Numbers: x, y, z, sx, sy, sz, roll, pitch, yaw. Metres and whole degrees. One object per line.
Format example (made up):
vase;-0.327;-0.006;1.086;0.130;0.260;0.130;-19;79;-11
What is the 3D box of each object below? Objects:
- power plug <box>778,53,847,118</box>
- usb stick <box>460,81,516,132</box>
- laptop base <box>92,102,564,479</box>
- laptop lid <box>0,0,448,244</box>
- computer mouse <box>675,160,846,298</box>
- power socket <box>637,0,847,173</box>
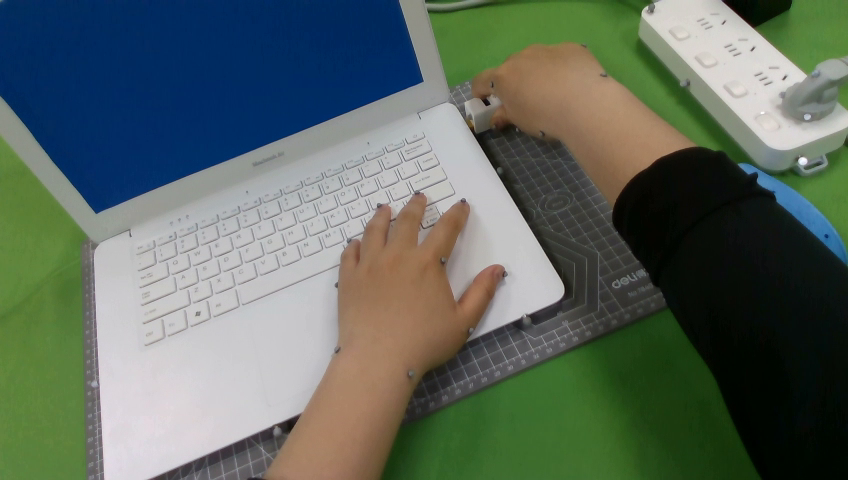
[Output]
power plug;0.308;-0.112;0.458;0.072;0.053;0.035;-12;56;4
usb stick;0.051;-0.116;0.541;0.059;0.027;0.021;-27;53;1
laptop base;-0.096;0.026;0.495;0.354;0.023;0.233;-23;57;-3
laptop lid;-0.168;-0.144;0.486;0.357;0.244;0.013;-24;41;-2
computer mouse;0.235;-0.015;0.430;0.063;0.041;0.116;-23;49;-1
power socket;0.262;-0.145;0.517;0.072;0.033;0.224;-21;53;-1
